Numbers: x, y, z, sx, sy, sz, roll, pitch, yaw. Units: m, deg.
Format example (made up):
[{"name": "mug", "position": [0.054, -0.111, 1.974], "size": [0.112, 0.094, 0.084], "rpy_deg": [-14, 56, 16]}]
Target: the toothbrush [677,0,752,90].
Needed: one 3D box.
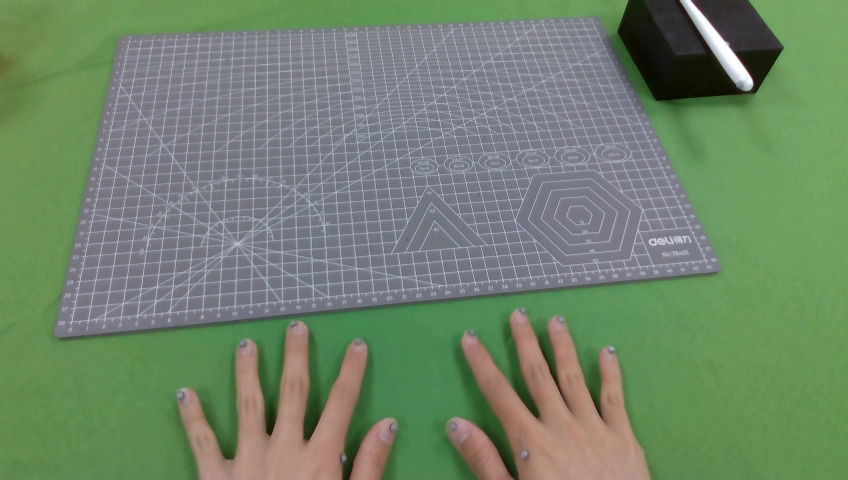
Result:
[{"name": "toothbrush", "position": [0.234, -0.193, 0.520], "size": [0.014, 0.017, 0.180], "rpy_deg": [-6, 56, -12]}]
